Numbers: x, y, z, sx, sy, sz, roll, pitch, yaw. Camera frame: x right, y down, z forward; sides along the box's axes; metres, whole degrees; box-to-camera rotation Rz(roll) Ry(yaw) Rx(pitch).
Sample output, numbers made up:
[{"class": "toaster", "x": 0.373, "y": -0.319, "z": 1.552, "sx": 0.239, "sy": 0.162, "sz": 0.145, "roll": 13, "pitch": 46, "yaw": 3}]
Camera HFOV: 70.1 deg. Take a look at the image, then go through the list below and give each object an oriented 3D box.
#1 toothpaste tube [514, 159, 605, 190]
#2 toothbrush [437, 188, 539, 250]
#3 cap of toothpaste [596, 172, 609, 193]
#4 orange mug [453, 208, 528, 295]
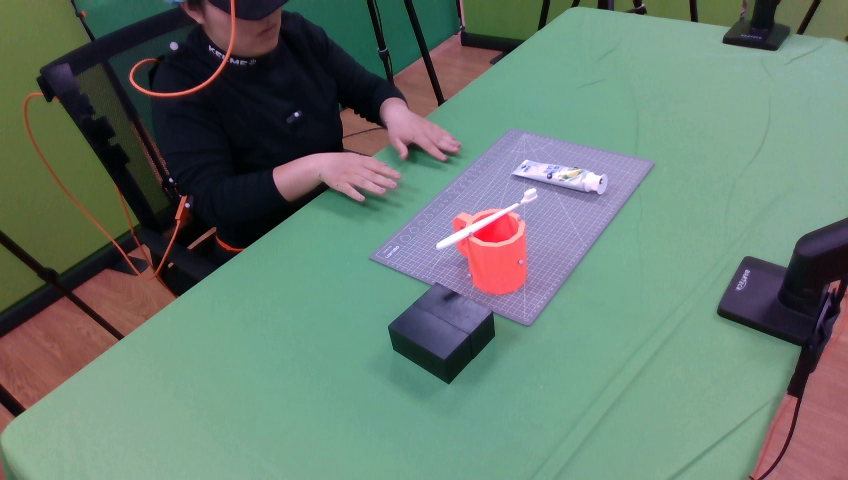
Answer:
[{"class": "toothpaste tube", "x": 0.242, "y": -0.117, "z": 1.069, "sx": 0.164, "sy": 0.034, "sz": 0.055, "roll": 17, "pitch": 42, "yaw": 35}, {"class": "toothbrush", "x": 0.093, "y": -0.031, "z": 0.859, "sx": 0.182, "sy": 0.017, "sz": 0.014, "roll": -28, "pitch": 52, "yaw": -21}, {"class": "cap of toothpaste", "x": 0.301, "y": -0.098, "z": 1.022, "sx": 0.011, "sy": 0.037, "sz": 0.037, "roll": 19, "pitch": 48, "yaw": 39}, {"class": "orange mug", "x": 0.094, "y": 0.009, "z": 0.894, "sx": 0.125, "sy": 0.101, "sz": 0.084, "roll": 32, "pitch": 55, "yaw": 33}]
